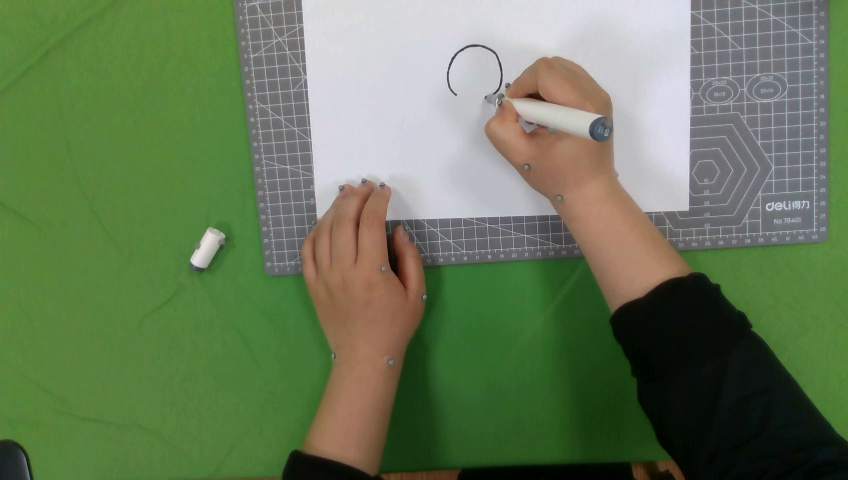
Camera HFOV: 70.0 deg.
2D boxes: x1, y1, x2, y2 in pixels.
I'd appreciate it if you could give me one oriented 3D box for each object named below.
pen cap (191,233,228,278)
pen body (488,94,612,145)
[{"bbox_3d":[-0.182,0.014,0.510,0.017,0.017,0.038,34,98,1],"label":"pen cap"},{"bbox_3d":[0.079,-0.086,0.419,0.017,0.142,0.017,-9,114,-21],"label":"pen body"}]
